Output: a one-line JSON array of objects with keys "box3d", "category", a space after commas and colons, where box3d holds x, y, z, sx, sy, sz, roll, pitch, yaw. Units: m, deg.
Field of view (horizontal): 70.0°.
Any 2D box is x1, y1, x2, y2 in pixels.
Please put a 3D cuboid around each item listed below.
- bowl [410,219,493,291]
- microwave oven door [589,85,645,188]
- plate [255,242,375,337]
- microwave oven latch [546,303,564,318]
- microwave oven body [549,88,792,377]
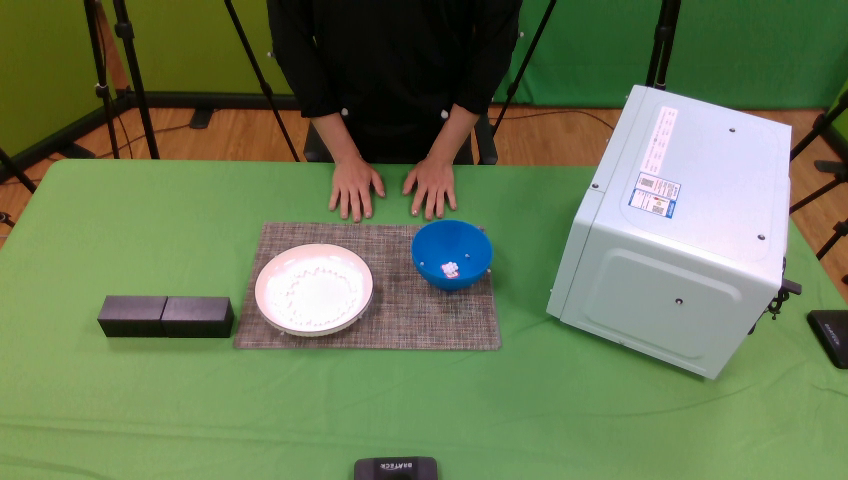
[{"box3d": [0.048, 0.041, 1.117, 0.151, 0.077, 0.150, 2, 46, -2], "category": "bowl"}, {"box3d": [0.342, -0.107, 1.149, 0.039, 0.245, 0.354, 20, 48, 15], "category": "microwave oven door"}, {"box3d": [-0.192, 0.090, 1.080, 0.208, 0.039, 0.206, 2, 46, -2], "category": "plate"}, {"box3d": [0.242, 0.102, 1.081, 0.030, 0.029, 0.079, 21, 48, 17], "category": "microwave oven latch"}, {"box3d": [0.456, -0.028, 1.088, 0.325, 0.261, 0.440, 20, 47, 16], "category": "microwave oven body"}]
